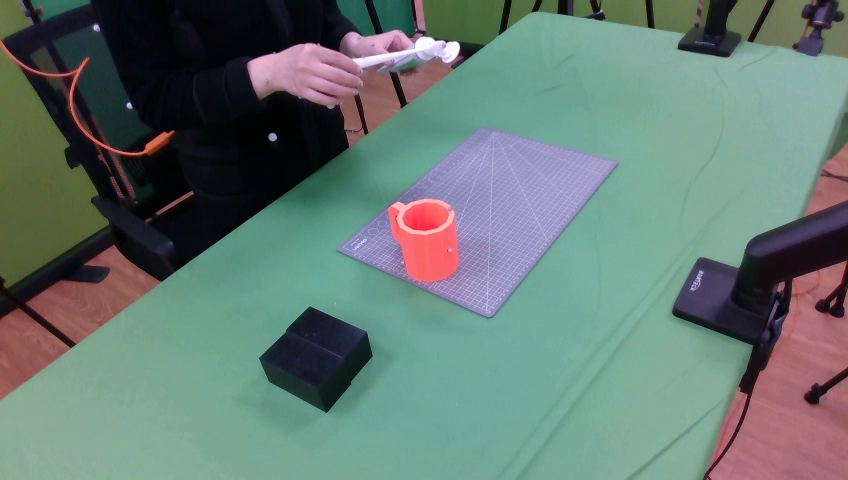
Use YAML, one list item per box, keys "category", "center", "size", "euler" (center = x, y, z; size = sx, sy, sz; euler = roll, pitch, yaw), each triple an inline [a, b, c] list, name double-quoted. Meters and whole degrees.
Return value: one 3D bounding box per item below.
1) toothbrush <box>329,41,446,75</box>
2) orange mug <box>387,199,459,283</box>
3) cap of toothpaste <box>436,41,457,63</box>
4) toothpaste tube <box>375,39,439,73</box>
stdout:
- category: "toothbrush"
  center: [-0.054, -0.270, 0.893]
  size: [0.182, 0.014, 0.016]
  euler: [-18, 38, -15]
- category: "orange mug"
  center: [-0.006, -0.007, 0.922]
  size: [0.125, 0.101, 0.084]
  euler: [32, 54, 32]
- category: "cap of toothpaste"
  center: [0.035, -0.289, 0.925]
  size: [0.037, 0.011, 0.037]
  euler: [-17, 64, 37]
- category: "toothpaste tube"
  center: [-0.024, -0.297, 0.993]
  size: [0.055, 0.034, 0.164]
  euler: [-7, 4, -28]
